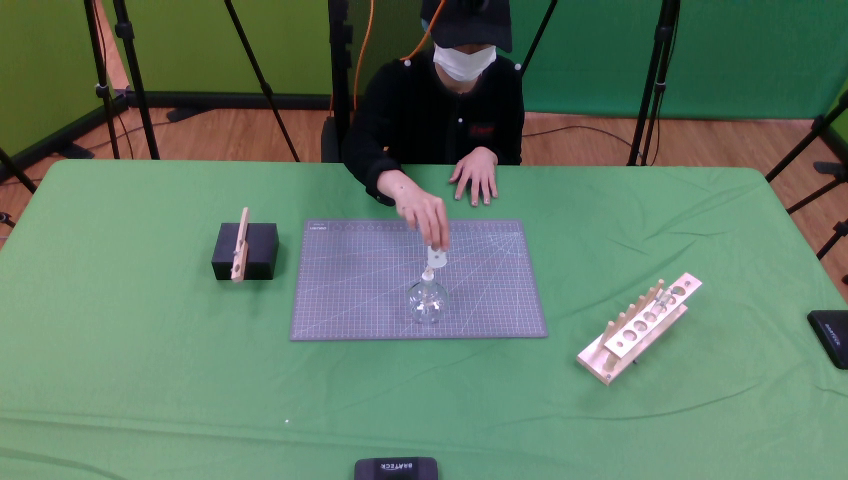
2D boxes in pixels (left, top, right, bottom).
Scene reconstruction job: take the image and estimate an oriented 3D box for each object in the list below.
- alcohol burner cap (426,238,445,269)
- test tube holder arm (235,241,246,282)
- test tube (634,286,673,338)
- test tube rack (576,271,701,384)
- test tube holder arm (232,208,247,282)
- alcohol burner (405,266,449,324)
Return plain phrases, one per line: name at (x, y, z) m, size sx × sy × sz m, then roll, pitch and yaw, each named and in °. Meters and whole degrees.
alcohol burner cap at (0.018, 0.019, 0.975) m, size 0.034 × 0.048 × 0.033 m, roll -2°, pitch 38°, yaw 2°
test tube holder arm at (-0.323, 0.037, 1.071) m, size 0.010 × 0.015 × 0.087 m, roll -9°, pitch 46°, yaw -2°
test tube at (0.374, 0.123, 0.993) m, size 0.017 × 0.151 × 0.017 m, roll 2°, pitch 52°, yaw -2°
test tube rack at (0.373, 0.138, 1.048) m, size 0.242 × 0.085 × 0.066 m, roll -31°, pitch 56°, yaw -29°
test tube holder arm at (-0.335, 0.006, 1.102) m, size 0.013 × 0.015 × 0.177 m, roll -9°, pitch 46°, yaw -2°
alcohol burner at (0.005, 0.089, 1.043) m, size 0.078 × 0.120 × 0.077 m, roll 1°, pitch 45°, yaw -1°
